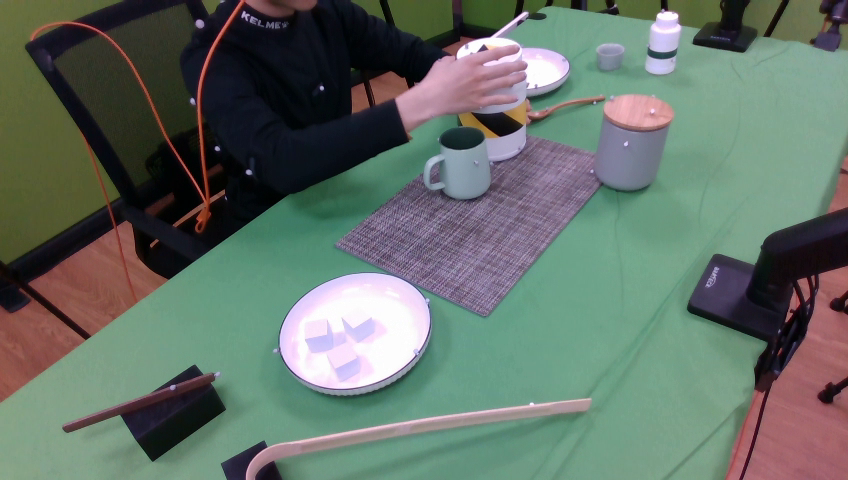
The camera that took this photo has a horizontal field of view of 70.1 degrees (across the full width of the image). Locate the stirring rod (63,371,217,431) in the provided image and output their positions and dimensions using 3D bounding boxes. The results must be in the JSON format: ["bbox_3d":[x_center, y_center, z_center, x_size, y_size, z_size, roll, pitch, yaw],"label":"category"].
[{"bbox_3d":[-0.337,0.192,0.723,0.177,0.014,0.005,-18,43,-12],"label":"stirring rod"}]

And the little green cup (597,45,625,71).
[{"bbox_3d":[0.423,-0.413,1.376,0.061,0.039,0.061,-3,41,3],"label":"little green cup"}]

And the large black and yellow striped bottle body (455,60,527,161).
[{"bbox_3d":[0.125,-0.254,1.115,0.131,0.185,0.130,-4,40,4],"label":"large black and yellow striped bottle body"}]

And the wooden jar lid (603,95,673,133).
[{"bbox_3d":[0.343,-0.200,0.974,0.108,0.021,0.108,-1,39,2],"label":"wooden jar lid"}]

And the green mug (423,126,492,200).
[{"bbox_3d":[0.055,-0.126,1.039,0.126,0.105,0.091,-25,44,-20],"label":"green mug"}]

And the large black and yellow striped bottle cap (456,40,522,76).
[{"bbox_3d":[0.114,-0.320,1.058,0.115,0.019,0.114,-4,41,4],"label":"large black and yellow striped bottle cap"}]

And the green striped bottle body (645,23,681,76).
[{"bbox_3d":[0.520,-0.424,1.312,0.063,0.120,0.063,-4,41,4],"label":"green striped bottle body"}]

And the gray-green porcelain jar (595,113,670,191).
[{"bbox_3d":[0.346,-0.154,1.017,0.106,0.127,0.105,-2,43,2],"label":"gray-green porcelain jar"}]

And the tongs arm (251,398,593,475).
[{"bbox_3d":[0.008,0.212,0.675,0.389,0.028,0.028,-5,46,-11],"label":"tongs arm"}]

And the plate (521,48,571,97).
[{"bbox_3d":[0.223,-0.371,1.357,0.209,0.038,0.208,-4,41,4],"label":"plate"}]

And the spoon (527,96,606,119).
[{"bbox_3d":[0.291,-0.277,1.249,0.194,0.022,0.041,-17,27,-11],"label":"spoon"}]

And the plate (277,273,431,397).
[{"bbox_3d":[-0.091,0.129,0.821,0.207,0.039,0.206,-4,40,4],"label":"plate"}]

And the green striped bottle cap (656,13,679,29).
[{"bbox_3d":[0.515,-0.463,1.278,0.044,0.020,0.044,-6,42,6],"label":"green striped bottle cap"}]

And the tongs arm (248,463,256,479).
[{"bbox_3d":[0.012,0.262,0.615,0.385,0.026,0.050,2,42,-2],"label":"tongs arm"}]
